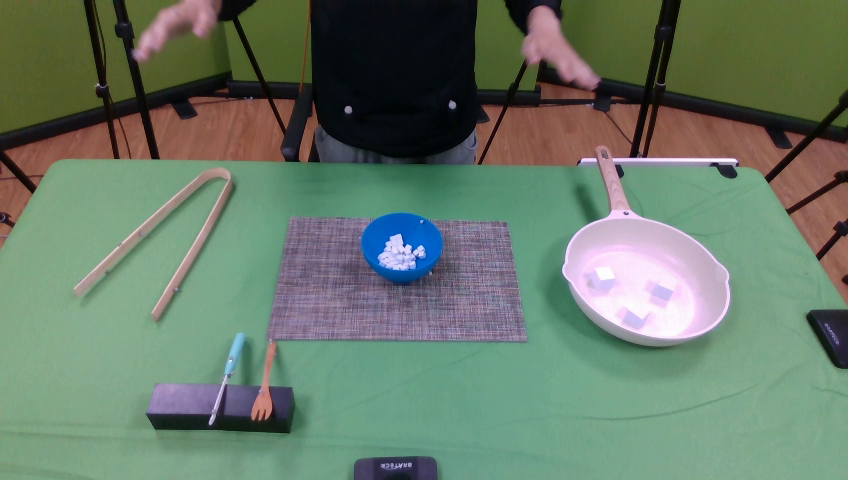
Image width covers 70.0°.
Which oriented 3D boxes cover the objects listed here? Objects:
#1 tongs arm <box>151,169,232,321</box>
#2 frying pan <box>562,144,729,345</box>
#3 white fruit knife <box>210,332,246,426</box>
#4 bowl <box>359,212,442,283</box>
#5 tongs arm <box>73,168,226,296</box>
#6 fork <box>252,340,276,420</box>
[{"bbox_3d":[-0.437,-0.004,1.163,0.028,0.028,0.385,6,46,5],"label":"tongs arm"},{"bbox_3d":[0.396,-0.008,1.179,0.307,0.103,0.484,1,55,-4],"label":"frying pan"},{"bbox_3d":[-0.301,0.206,0.930,0.016,0.027,0.206,5,29,-7],"label":"white fruit knife"},{"bbox_3d":[-0.044,0.026,1.125,0.151,0.077,0.150,2,46,-2],"label":"bowl"},{"bbox_3d":[-0.515,-0.026,1.172,0.050,0.026,0.383,18,46,11],"label":"tongs arm"},{"bbox_3d":[-0.242,0.211,0.932,0.028,0.019,0.206,-7,27,-5],"label":"fork"}]
